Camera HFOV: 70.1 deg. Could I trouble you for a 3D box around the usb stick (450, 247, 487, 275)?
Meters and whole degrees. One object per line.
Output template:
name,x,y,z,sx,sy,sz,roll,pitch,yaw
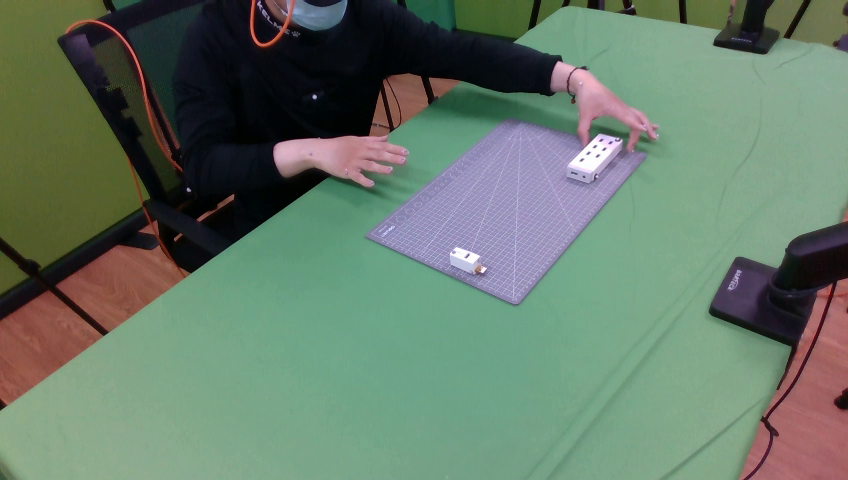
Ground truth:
usb stick,0.069,0.033,0.912,0.059,0.027,0.021,24,48,28

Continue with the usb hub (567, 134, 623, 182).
usb hub,0.309,-0.149,1.091,0.049,0.025,0.125,24,50,32
